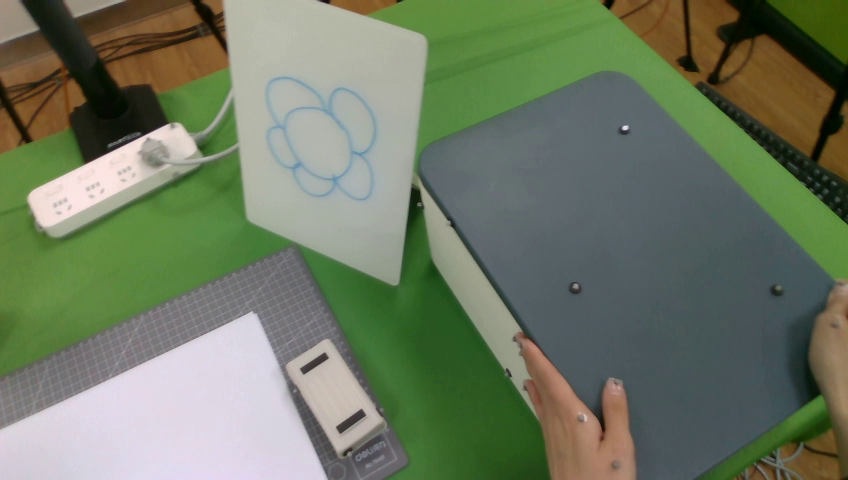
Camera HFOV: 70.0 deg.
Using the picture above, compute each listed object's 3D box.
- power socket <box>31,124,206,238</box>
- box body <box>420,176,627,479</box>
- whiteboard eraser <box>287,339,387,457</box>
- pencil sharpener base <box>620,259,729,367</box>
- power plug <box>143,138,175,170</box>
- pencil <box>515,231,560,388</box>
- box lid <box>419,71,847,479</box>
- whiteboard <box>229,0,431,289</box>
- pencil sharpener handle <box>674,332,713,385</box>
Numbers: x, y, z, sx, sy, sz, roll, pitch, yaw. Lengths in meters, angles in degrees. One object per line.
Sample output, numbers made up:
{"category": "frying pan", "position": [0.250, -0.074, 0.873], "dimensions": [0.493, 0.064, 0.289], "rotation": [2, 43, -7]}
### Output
{"category": "power socket", "position": [-0.391, -0.079, 0.784], "dimensions": [0.227, 0.033, 0.071], "rotation": [-31, 63, -17]}
{"category": "box body", "position": [0.187, 0.047, 0.616], "dimensions": [0.254, 0.162, 0.360], "rotation": [-27, 61, -14]}
{"category": "whiteboard eraser", "position": [-0.090, 0.160, 0.621], "dimensions": [0.055, 0.042, 0.111], "rotation": [-31, 62, -19]}
{"category": "pencil sharpener base", "position": [0.252, 0.079, 0.619], "dimensions": [0.061, 0.108, 0.076], "rotation": [-7, 58, -3]}
{"category": "power plug", "position": [-0.333, -0.097, 0.766], "dimensions": [0.035, 0.053, 0.072], "rotation": [-22, 62, -11]}
{"category": "pencil", "position": [0.128, 0.073, 0.684], "dimensions": [0.012, 0.012, 0.192], "rotation": [-8, 61, -3]}
{"category": "box lid", "position": [0.185, 0.000, 0.545], "dimensions": [0.263, 0.015, 0.368], "rotation": [-25, 63, -16]}
{"category": "whiteboard", "position": [-0.078, -0.132, 0.685], "dimensions": [0.216, 0.308, 0.143], "rotation": [23, 43, 16]}
{"category": "pencil sharpener handle", "position": [0.262, 0.115, 0.582], "dimensions": [0.036, 0.068, 0.030], "rotation": [-14, 58, 8]}
